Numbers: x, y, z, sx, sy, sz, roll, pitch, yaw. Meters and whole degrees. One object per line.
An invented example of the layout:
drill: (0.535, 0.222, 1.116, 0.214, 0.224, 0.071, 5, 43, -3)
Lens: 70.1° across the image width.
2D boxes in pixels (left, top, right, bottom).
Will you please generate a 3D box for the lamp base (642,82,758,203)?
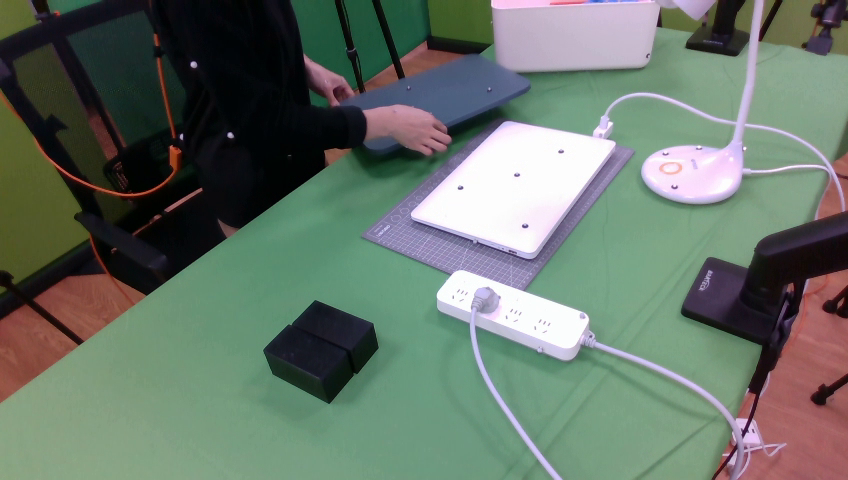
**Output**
lamp base: (0.464, -0.174, 0.992, 0.179, 0.181, 0.159, -5, 41, -1)

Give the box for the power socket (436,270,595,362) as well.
power socket: (0.118, 0.101, 0.832, 0.225, 0.033, 0.072, 19, 48, 27)

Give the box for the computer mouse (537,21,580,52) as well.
computer mouse: (0.335, -0.503, 1.488, 0.118, 0.041, 0.062, 21, 20, -28)

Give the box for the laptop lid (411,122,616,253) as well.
laptop lid: (0.164, -0.111, 1.067, 0.240, 0.013, 0.357, 19, 46, 31)

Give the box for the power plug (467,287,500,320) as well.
power plug: (0.073, 0.092, 0.814, 0.035, 0.053, 0.073, 29, 54, 34)

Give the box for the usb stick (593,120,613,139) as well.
usb stick: (0.336, -0.201, 1.147, 0.021, 0.027, 0.059, 27, 53, 27)

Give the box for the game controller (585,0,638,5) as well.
game controller: (0.427, -0.548, 1.425, 0.155, 0.052, 0.096, -16, 45, -10)

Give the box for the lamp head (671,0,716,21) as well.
lamp head: (0.375, -0.373, 0.807, 0.122, 0.113, 0.112, -40, 27, 32)

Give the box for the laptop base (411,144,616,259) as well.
laptop base: (0.168, -0.102, 1.073, 0.234, 0.023, 0.355, 17, 46, 30)

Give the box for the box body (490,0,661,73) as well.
box body: (0.346, -0.520, 1.429, 0.363, 0.161, 0.253, 0, 41, 9)

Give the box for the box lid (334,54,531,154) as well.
box lid: (0.013, -0.296, 1.272, 0.372, 0.015, 0.261, -25, 39, -13)
